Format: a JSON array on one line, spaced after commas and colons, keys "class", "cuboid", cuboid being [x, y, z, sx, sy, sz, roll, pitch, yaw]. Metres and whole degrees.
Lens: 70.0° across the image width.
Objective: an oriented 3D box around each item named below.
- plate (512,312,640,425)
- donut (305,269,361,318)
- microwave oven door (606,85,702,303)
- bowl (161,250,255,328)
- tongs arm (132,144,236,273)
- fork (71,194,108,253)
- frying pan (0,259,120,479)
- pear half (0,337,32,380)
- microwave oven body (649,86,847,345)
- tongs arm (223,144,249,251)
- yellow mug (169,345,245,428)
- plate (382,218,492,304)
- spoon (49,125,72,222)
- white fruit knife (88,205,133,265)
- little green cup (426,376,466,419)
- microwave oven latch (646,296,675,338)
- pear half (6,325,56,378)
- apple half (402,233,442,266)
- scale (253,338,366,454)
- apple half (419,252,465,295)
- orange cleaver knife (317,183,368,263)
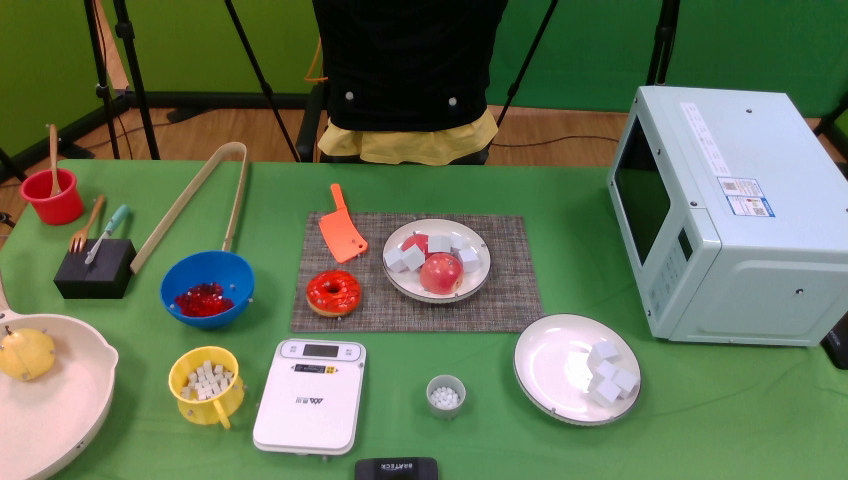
[{"class": "plate", "cuboid": [0.246, 0.213, 0.999, 0.208, 0.039, 0.206, 2, 46, -2]}, {"class": "donut", "cuboid": [-0.160, 0.094, 1.075, 0.099, 0.048, 0.098, 4, 45, -3]}, {"class": "microwave oven door", "cuboid": [0.423, -0.094, 1.140, 0.039, 0.245, 0.353, 2, 46, -1]}, {"class": "bowl", "cuboid": [-0.362, 0.098, 1.039, 0.151, 0.077, 0.150, 2, 45, -2]}, {"class": "tongs arm", "cuboid": [-0.482, -0.077, 1.235, 0.028, 0.028, 0.385, 6, 44, 12]}, {"class": "fork", "cuboid": [-0.634, -0.036, 1.158, 0.028, 0.019, 0.206, -7, 31, -8]}, {"class": "frying pan", "cuboid": [-0.647, 0.164, 0.936, 0.307, 0.103, 0.485, -19, 58, -22]}, {"class": "pear half", "cuboid": [-0.631, 0.184, 0.921, 0.070, 0.088, 0.031, 29, 49, 19]}, {"class": "microwave oven body", "cuboid": [0.567, -0.053, 1.118, 0.326, 0.261, 0.439, 2, 45, -1]}, {"class": "tongs arm", "cuboid": [-0.398, -0.072, 1.233, 0.051, 0.026, 0.382, -2, 45, 0]}, {"class": "yellow mug", "cuboid": [-0.322, 0.230, 0.922, 0.100, 0.064, 0.130, -24, 53, -25]}, {"class": "plate", "cuboid": [0.023, 0.042, 1.143, 0.209, 0.038, 0.208, 2, 46, -2]}, {"class": "spoon", "cuboid": [-0.718, -0.131, 1.189, 0.041, 0.021, 0.193, -4, 90, -7]}, {"class": "white fruit knife", "cuboid": [-0.583, -0.013, 1.129, 0.016, 0.027, 0.206, -2, 32, -4]}, {"class": "little green cup", "cuboid": [0.033, 0.248, 0.950, 0.061, 0.039, 0.061, 2, 46, -2]}, {"class": "microwave oven latch", "cuboid": [0.412, 0.134, 1.061, 0.030, 0.029, 0.078, 4, 45, 1]}, {"class": "pear half", "cuboid": [-0.608, 0.158, 0.935, 0.076, 0.110, 0.056, 31, 51, 20]}, {"class": "apple half", "cuboid": [-0.004, 0.013, 1.160, 0.081, 0.033, 0.081, 4, 45, -4]}, {"class": "scale", "cuboid": [-0.175, 0.236, 0.951, 0.149, 0.032, 0.199, 4, 45, -1]}, {"class": "apple half", "cuboid": [0.035, 0.055, 1.109, 0.074, 0.053, 0.081, 38, 55, 24]}, {"class": "orange cleaver knife", "cuboid": [-0.174, -0.037, 1.218, 0.077, 0.012, 0.210, -17, 51, -11]}]
